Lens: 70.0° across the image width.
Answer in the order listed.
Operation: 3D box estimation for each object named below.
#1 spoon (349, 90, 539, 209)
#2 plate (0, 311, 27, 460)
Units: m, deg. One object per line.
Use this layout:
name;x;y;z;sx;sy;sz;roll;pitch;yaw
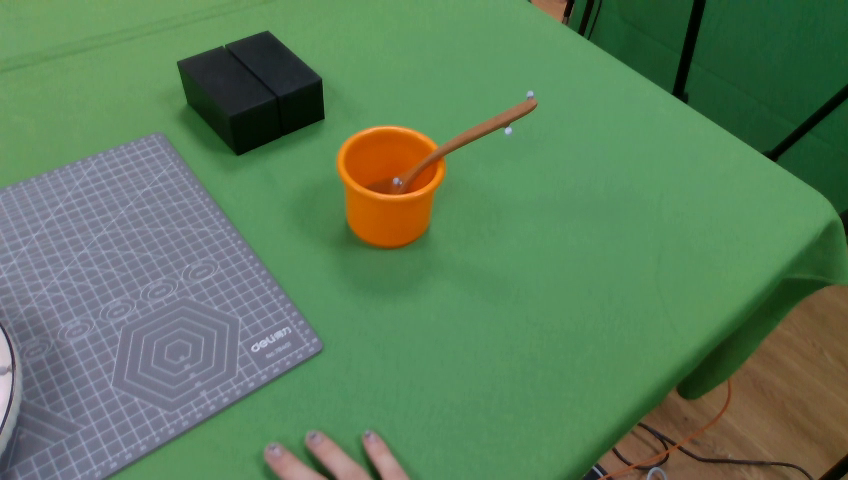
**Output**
spoon;0.011;-0.075;0.512;0.022;0.193;0.041;38;37;-33
plate;-0.363;0.119;0.380;0.209;0.038;0.207;4;51;-5
